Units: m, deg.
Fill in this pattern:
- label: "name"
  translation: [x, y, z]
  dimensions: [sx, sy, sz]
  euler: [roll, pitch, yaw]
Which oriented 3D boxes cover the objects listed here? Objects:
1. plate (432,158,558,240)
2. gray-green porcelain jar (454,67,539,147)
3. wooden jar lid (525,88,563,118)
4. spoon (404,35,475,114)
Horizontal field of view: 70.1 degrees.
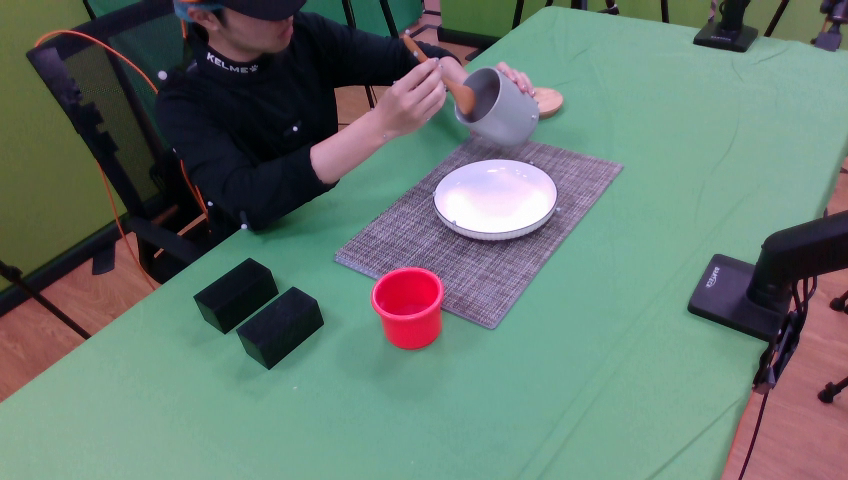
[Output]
- label: "plate"
  translation: [0.118, -0.066, 1.013]
  dimensions: [0.207, 0.039, 0.206]
  euler: [-4, 41, 4]
- label: "gray-green porcelain jar"
  translation: [0.132, -0.227, 1.058]
  dimensions: [0.128, 0.106, 0.105]
  euler: [19, 19, -44]
- label: "wooden jar lid"
  translation: [0.237, -0.286, 1.272]
  dimensions: [0.108, 0.021, 0.108]
  euler: [-5, 41, 5]
- label: "spoon"
  translation: [0.027, -0.256, 0.946]
  dimensions: [0.021, 0.195, 0.041]
  euler: [22, 83, 46]
